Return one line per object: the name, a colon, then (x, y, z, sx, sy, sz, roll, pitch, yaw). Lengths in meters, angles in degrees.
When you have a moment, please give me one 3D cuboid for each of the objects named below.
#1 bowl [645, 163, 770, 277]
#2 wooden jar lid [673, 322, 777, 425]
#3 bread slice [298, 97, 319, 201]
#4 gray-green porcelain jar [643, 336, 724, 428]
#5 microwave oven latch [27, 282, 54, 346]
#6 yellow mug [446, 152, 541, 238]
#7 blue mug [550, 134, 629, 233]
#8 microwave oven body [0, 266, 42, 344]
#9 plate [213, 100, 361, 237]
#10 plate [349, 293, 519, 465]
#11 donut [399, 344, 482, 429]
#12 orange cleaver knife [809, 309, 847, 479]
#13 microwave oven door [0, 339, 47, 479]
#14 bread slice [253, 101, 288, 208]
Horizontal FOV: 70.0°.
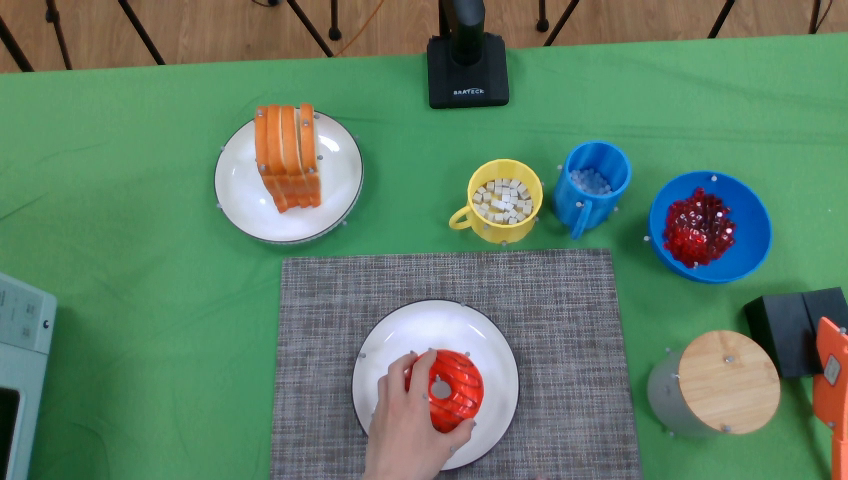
bowl: (0.356, -0.016, 0.792, 0.151, 0.077, 0.150, -1, 71, 2)
wooden jar lid: (0.319, 0.143, 0.647, 0.108, 0.021, 0.107, 0, 72, 0)
bread slice: (-0.153, -0.123, 0.807, 0.019, 0.132, 0.104, -4, 73, -8)
gray-green porcelain jar: (0.322, 0.164, 0.706, 0.106, 0.127, 0.105, 0, 71, 1)
microwave oven latch: (-0.500, 0.095, 0.779, 0.030, 0.029, 0.078, 1, 72, 2)
yellow mug: (0.090, -0.053, 0.818, 0.131, 0.064, 0.099, -24, 72, -5)
blue mug: (0.211, -0.065, 0.798, 0.082, 0.106, 0.116, 16, 73, 8)
microwave oven body: (-0.647, 0.236, 0.634, 0.326, 0.261, 0.438, -2, 72, 1)
plate: (-0.190, -0.098, 0.857, 0.207, 0.039, 0.206, 0, 72, 1)
plate: (0.013, 0.170, 0.756, 0.209, 0.038, 0.207, 0, 71, 1)
donut: (0.019, 0.171, 0.712, 0.099, 0.048, 0.098, -2, 68, 4)
orange cleaver knife: (0.480, 0.188, 0.717, 0.012, 0.077, 0.212, -6, 101, 1)
microwave oven door: (-0.500, 0.269, 0.613, 0.039, 0.245, 0.353, -2, 71, 1)
bread slice: (-0.203, -0.120, 0.806, 0.018, 0.135, 0.106, -5, 67, -2)
